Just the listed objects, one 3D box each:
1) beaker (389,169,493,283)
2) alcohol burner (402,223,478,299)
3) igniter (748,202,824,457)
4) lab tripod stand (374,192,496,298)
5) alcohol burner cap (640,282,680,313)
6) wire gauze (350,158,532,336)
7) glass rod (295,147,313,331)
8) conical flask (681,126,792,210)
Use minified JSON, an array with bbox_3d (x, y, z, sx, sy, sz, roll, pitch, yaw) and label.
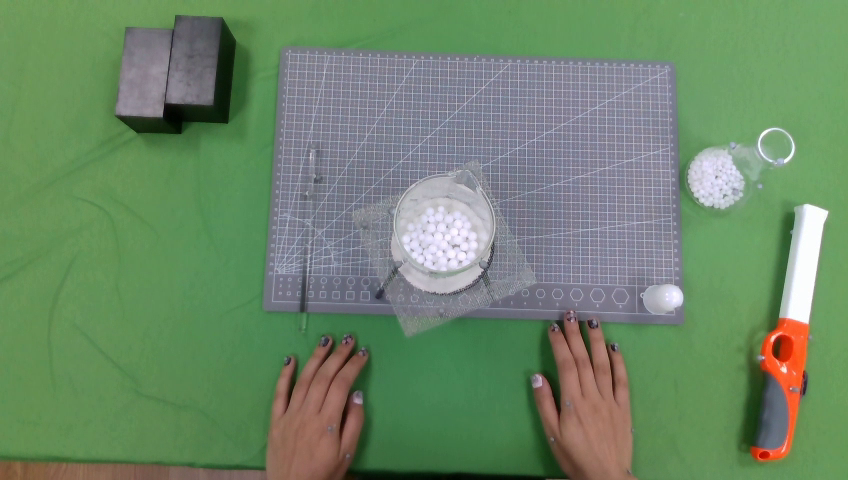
[{"bbox_3d":[0.013,-0.007,0.478,0.074,0.100,0.084,24,81,2],"label":"beaker"},{"bbox_3d":[0.016,0.018,0.600,0.078,0.119,0.077,0,79,1],"label":"alcohol burner"},{"bbox_3d":[0.386,0.093,0.643,0.057,0.025,0.275,17,81,-9],"label":"igniter"},{"bbox_3d":[0.013,0.016,0.590,0.148,0.132,0.148,0,83,-1],"label":"lab tripod stand"},{"bbox_3d":[0.250,0.058,0.635,0.034,0.048,0.033,0,80,-1],"label":"alcohol burner cap"},{"bbox_3d":[0.015,0.005,0.525,0.125,0.011,0.121,-23,85,-7],"label":"wire gauze"},{"bbox_3d":[-0.128,-0.003,0.652,0.008,0.008,0.199,3,84,-1],"label":"glass rod"},{"bbox_3d":[0.323,-0.079,0.621,0.075,0.122,0.075,0,80,0],"label":"conical flask"}]
